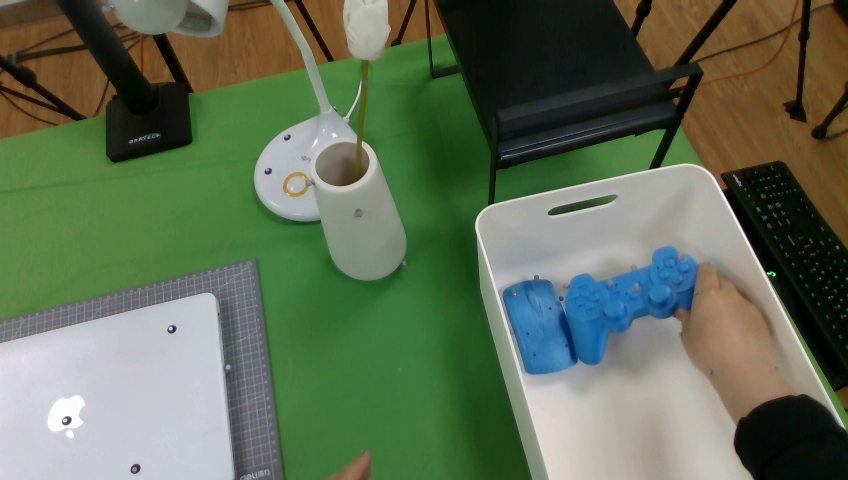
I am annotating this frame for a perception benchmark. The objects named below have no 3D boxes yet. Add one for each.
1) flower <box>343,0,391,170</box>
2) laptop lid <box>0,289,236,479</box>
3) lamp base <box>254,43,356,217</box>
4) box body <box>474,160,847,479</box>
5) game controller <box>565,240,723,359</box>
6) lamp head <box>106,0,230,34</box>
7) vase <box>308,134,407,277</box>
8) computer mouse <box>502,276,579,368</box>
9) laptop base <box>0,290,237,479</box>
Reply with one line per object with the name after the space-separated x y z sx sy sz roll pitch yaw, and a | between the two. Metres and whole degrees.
-0.069 -0.086 0.632 0.038 0.364 0.043 -19 51 -25 | flower
-0.398 0.200 0.683 0.357 0.013 0.239 -13 64 -3 | laptop lid
-0.156 -0.149 0.775 0.160 0.182 0.178 16 62 12 | lamp base
0.213 0.127 0.617 0.254 0.162 0.360 -12 62 -3 | box body
0.229 0.060 0.652 0.155 0.052 0.096 -19 55 12 | game controller
-0.201 -0.242 0.488 0.112 0.113 0.122 13 81 11 | lamp head
-0.077 -0.036 0.700 0.098 0.202 0.097 -2 61 5 | vase
0.134 0.090 0.702 0.063 0.041 0.116 -14 51 -2 | computer mouse
-0.398 0.203 0.695 0.354 0.023 0.233 -14 65 -4 | laptop base
